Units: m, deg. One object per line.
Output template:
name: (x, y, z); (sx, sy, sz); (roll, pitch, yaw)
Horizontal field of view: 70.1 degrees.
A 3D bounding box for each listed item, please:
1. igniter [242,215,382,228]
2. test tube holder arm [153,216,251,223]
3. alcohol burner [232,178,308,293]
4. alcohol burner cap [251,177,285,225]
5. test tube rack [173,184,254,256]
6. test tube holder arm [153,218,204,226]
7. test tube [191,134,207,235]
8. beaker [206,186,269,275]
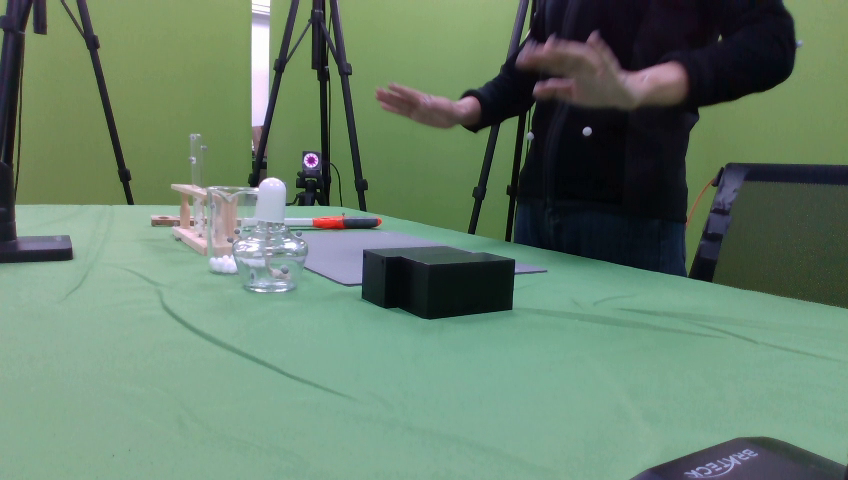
igniter: (-0.212, -0.036, 1.187); (0.278, 0.025, 0.057); (-2, -2, -31)
test tube holder arm: (-0.422, -0.039, 1.159); (0.179, 0.015, 0.013); (-2, 43, -31)
alcohol burner: (-0.161, -0.006, 0.632); (0.078, 0.119, 0.078); (1, 9, 0)
alcohol burner cap: (-0.160, -0.041, 0.628); (0.034, 0.048, 0.034); (9, 6, -1)
test tube rack: (-0.328, -0.036, 0.927); (0.067, 0.085, 0.241); (-2, 9, -32)
test tube holder arm: (-0.459, -0.034, 1.132); (0.088, 0.015, 0.010); (-1, 43, -30)
test tube: (-0.336, -0.083, 0.903); (0.017, 0.150, 0.017); (-1, 5, 0)
beaker: (-0.220, -0.012, 0.717); (0.074, 0.100, 0.084); (2, 8, -3)
